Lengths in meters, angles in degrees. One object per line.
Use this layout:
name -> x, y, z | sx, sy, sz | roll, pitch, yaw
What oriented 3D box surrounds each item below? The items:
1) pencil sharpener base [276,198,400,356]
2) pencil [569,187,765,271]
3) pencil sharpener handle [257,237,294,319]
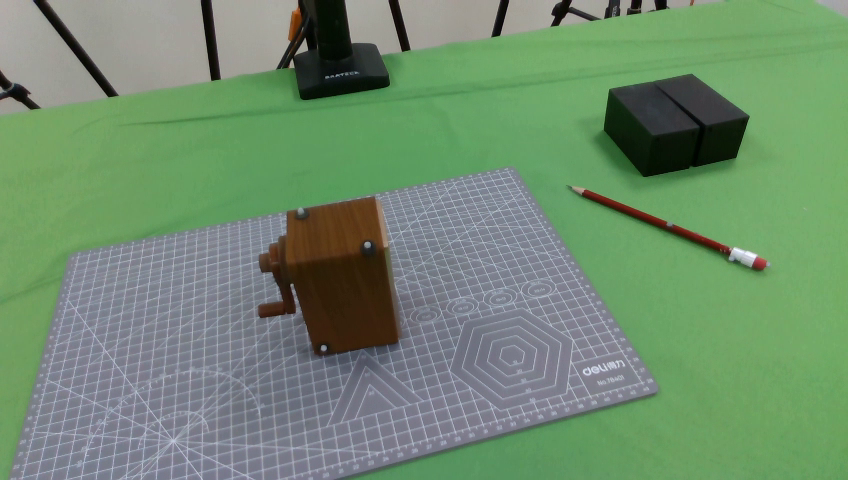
pencil sharpener base -> -0.063, 0.031, 0.459 | 0.077, 0.108, 0.060 | -9, 42, -5
pencil -> 0.218, -0.015, 0.566 | 0.192, 0.012, 0.012 | 29, 51, 34
pencil sharpener handle -> -0.114, 0.031, 0.445 | 0.031, 0.068, 0.035 | -10, 35, -5
